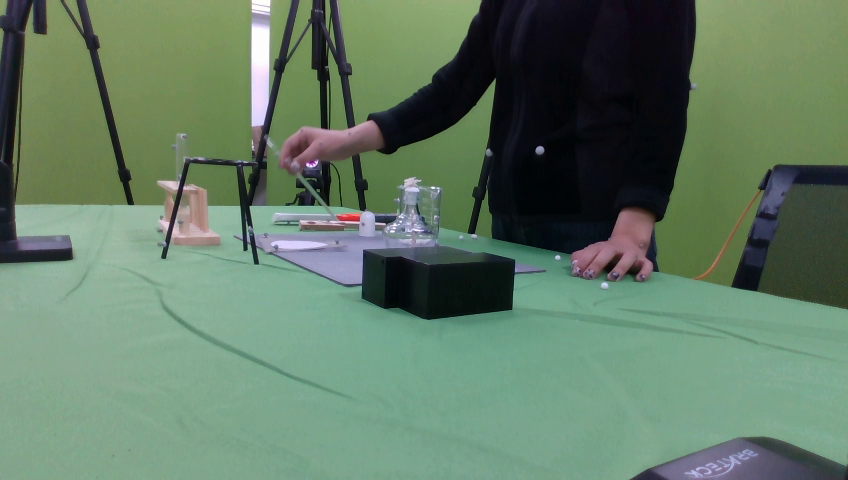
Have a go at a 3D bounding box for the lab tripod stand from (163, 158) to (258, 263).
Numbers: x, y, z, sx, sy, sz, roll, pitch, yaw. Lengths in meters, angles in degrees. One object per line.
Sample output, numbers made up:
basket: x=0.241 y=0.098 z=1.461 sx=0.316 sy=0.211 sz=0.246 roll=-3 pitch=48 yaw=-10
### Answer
lab tripod stand: x=-0.265 y=-0.041 z=0.802 sx=0.148 sy=0.131 sz=0.148 roll=4 pitch=7 yaw=0

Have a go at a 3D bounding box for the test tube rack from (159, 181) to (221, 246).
test tube rack: x=-0.395 y=-0.050 z=1.010 sx=0.067 sy=0.085 sz=0.241 roll=-2 pitch=8 yaw=-28

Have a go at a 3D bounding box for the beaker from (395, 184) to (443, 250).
beaker: x=-0.007 y=-0.037 z=0.965 sx=0.074 sy=0.100 sz=0.083 roll=-4 pitch=11 yaw=-40

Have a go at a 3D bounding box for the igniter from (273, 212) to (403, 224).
igniter: x=-0.179 y=-0.048 z=1.291 sx=0.278 sy=0.025 sz=0.057 roll=-1 pitch=-2 yaw=-24

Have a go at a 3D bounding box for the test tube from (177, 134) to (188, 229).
test tube: x=-0.374 y=-0.089 z=0.938 sx=0.017 sy=0.150 sz=0.017 roll=1 pitch=4 yaw=0

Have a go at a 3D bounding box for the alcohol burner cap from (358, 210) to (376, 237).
alcohol burner cap: x=-0.104 y=-0.030 z=1.098 sx=0.034 sy=0.048 sz=0.034 roll=2 pitch=7 yaw=0

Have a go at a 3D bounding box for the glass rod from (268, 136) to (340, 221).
glass rod: x=-0.213 y=-0.106 z=1.080 sx=0.008 sy=0.200 sz=0.008 roll=-28 pitch=28 yaw=17

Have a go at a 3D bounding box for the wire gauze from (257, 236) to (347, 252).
wire gauze: x=-0.189 y=0.005 z=0.931 sx=0.122 sy=0.011 sz=0.124 roll=1 pitch=7 yaw=-21

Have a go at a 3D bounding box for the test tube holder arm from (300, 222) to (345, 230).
test tube holder arm: x=-0.196 y=-0.027 z=1.170 sx=0.088 sy=0.015 sz=0.010 roll=-1 pitch=43 yaw=-28

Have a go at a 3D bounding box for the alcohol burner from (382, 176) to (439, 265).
alcohol burner: x=-0.018 y=-0.027 z=0.818 sx=0.078 sy=0.119 sz=0.078 roll=3 pitch=9 yaw=0

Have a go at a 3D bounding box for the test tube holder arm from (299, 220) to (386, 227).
test tube holder arm: x=-0.158 y=-0.032 z=1.195 sx=0.179 sy=0.015 sz=0.013 roll=-2 pitch=43 yaw=-29
